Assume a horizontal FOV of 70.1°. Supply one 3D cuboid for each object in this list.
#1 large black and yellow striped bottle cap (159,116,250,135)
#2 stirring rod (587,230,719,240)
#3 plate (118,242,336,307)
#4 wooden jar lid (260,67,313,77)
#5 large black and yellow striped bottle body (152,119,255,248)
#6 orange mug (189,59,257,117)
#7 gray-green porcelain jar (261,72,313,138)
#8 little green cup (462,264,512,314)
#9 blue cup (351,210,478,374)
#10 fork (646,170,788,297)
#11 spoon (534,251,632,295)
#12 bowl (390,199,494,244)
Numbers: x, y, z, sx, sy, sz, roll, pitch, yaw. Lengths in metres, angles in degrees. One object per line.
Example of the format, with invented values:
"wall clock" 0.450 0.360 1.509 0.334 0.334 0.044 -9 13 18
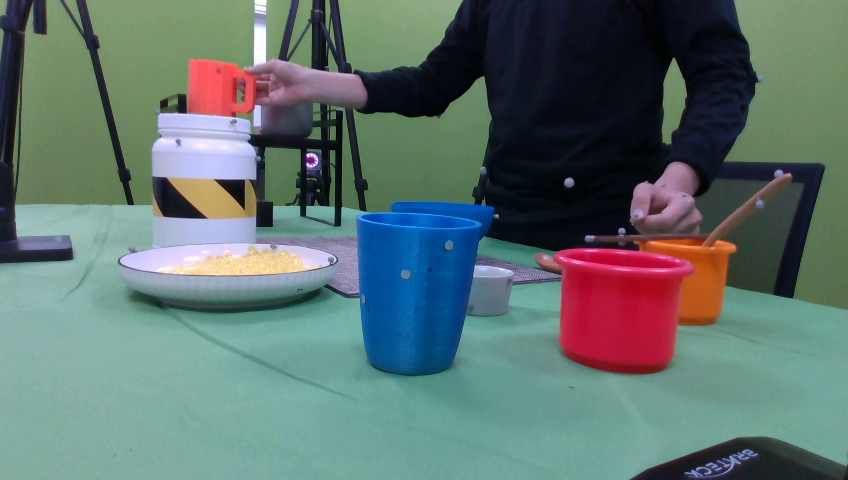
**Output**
"large black and yellow striped bottle cap" -0.292 -0.153 0.810 0.115 0.019 0.115 3 8 0
"stirring rod" 0.226 -0.005 0.587 0.177 0.006 0.014 -2 10 -29
"plate" -0.194 0.033 0.615 0.209 0.038 0.209 2 7 0
"wooden jar lid" -0.283 -0.339 1.244 0.108 0.020 0.108 5 9 0
"large black and yellow striped bottle body" -0.296 -0.070 0.819 0.131 0.184 0.130 2 7 0
"orange mug" -0.374 -0.282 1.127 0.126 0.101 0.083 2 10 4
"gray-green porcelain jar" -0.284 -0.276 1.253 0.106 0.126 0.106 2 8 0
"little green cup" 0.053 0.047 0.580 0.061 0.038 0.061 3 8 0
"blue cup" -0.009 0.034 0.414 0.093 0.100 0.092 4 8 0
"fork" 0.256 0.004 0.543 0.028 0.018 0.207 3 -36 -9
"spoon" 0.194 0.038 0.753 0.042 0.021 0.193 14 2 -20
"bowl" 0.024 -0.015 0.872 0.151 0.077 0.151 3 7 0
